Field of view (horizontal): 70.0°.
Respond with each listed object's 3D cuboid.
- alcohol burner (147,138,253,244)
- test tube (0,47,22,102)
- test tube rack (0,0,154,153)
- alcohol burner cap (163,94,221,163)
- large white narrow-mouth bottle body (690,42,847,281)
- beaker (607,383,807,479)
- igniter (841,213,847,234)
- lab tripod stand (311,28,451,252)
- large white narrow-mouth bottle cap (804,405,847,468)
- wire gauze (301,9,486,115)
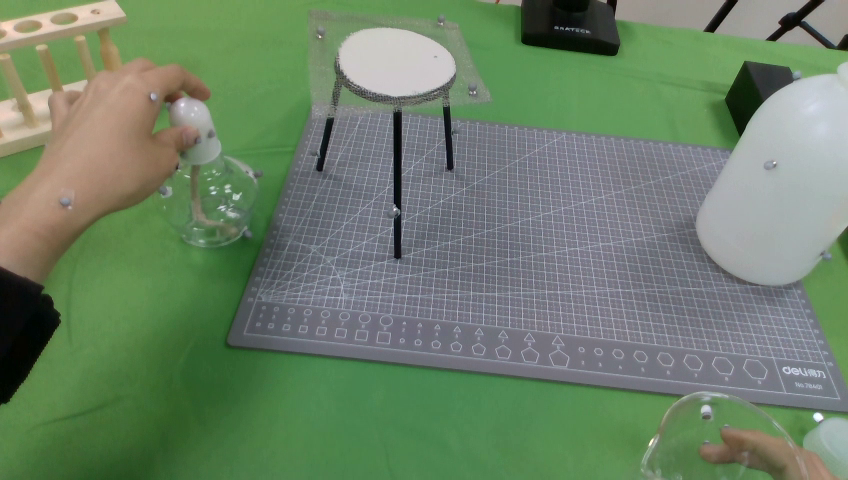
[{"bbox_3d":[-0.171,-0.053,0.458,0.078,0.120,0.077,5,46,-5],"label":"alcohol burner"},{"bbox_3d":[-0.367,-0.182,0.503,0.017,0.151,0.017,4,43,-3],"label":"test tube"},{"bbox_3d":[-0.375,-0.130,0.521,0.242,0.086,0.066,-26,56,-27],"label":"test tube rack"},{"bbox_3d":[-0.165,-0.080,0.426,0.034,0.048,0.033,2,58,-2],"label":"alcohol burner cap"},{"bbox_3d":[0.288,-0.063,0.464,0.102,0.196,0.101,3,47,-3],"label":"large white narrow-mouth bottle body"},{"bbox_3d":[0.143,0.137,0.334,0.084,0.101,0.073,-2,48,-7],"label":"beaker"},{"bbox_3d":[0.383,0.070,0.473,0.057,0.025,0.274,16,47,-7],"label":"igniter"},{"bbox_3d":[-0.028,-0.086,0.488,0.148,0.132,0.147,5,48,-5],"label":"lab tripod stand"},{"bbox_3d":[0.279,0.132,0.408,0.038,0.024,0.037,3,47,-3],"label":"large white narrow-mouth bottle cap"},{"bbox_3d":[-0.026,-0.133,0.439,0.122,0.011,0.123,-3,50,-11],"label":"wire gauze"}]
